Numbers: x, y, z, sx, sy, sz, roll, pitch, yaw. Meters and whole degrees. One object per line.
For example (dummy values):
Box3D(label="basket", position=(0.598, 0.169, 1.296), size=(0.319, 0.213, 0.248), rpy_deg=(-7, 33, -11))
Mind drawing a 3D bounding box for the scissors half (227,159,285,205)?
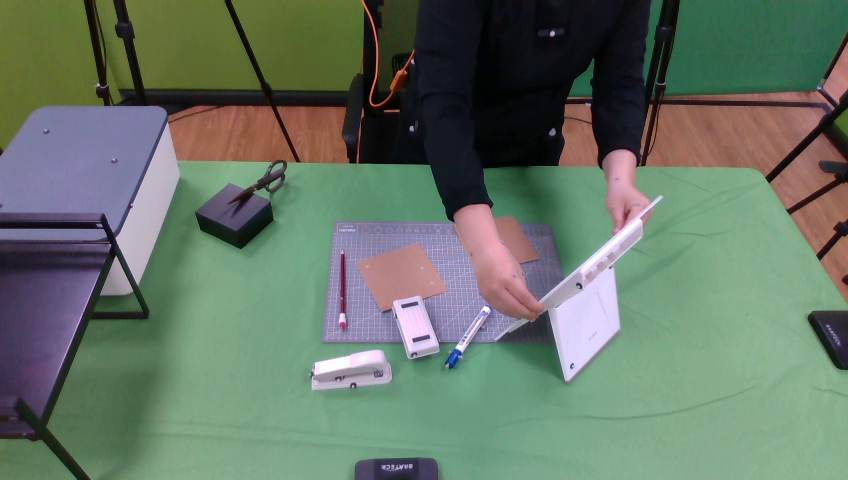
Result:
Box3D(label="scissors half", position=(-0.336, -0.117, 1.218), size=(0.013, 0.040, 0.175), rpy_deg=(27, 47, 13))

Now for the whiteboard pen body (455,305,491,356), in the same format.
Box3D(label="whiteboard pen body", position=(0.080, 0.164, 1.047), size=(0.017, 0.017, 0.140), rpy_deg=(25, 50, 19))

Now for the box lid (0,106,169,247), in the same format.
Box3D(label="box lid", position=(-0.624, -0.125, 1.067), size=(0.263, 0.015, 0.369), rpy_deg=(0, 46, -3))

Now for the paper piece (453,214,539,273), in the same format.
Box3D(label="paper piece", position=(0.142, 0.003, 1.212), size=(0.135, 0.004, 0.135), rpy_deg=(-11, 48, -14))

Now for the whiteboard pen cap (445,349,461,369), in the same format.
Box3D(label="whiteboard pen cap", position=(0.049, 0.197, 1.011), size=(0.018, 0.018, 0.033), rpy_deg=(24, 50, 18))

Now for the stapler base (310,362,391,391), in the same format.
Box3D(label="stapler base", position=(-0.119, 0.215, 0.980), size=(0.131, 0.024, 0.041), rpy_deg=(-5, 44, -7))

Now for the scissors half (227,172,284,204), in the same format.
Box3D(label="scissors half", position=(-0.340, -0.101, 1.231), size=(0.013, 0.040, 0.175), rpy_deg=(23, 29, 16))

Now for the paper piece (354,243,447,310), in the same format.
Box3D(label="paper piece", position=(-0.046, 0.066, 1.137), size=(0.136, 0.009, 0.137), rpy_deg=(-13, 46, -22))

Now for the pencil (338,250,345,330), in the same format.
Box3D(label="pencil", position=(-0.152, 0.085, 1.107), size=(0.012, 0.012, 0.192), rpy_deg=(-3, 44, -7))

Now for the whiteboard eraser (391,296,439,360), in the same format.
Box3D(label="whiteboard eraser", position=(-0.016, 0.150, 1.034), size=(0.056, 0.042, 0.112), rpy_deg=(-9, 48, -16))

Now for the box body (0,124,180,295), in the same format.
Box3D(label="box body", position=(-0.628, -0.075, 1.122), size=(0.254, 0.161, 0.361), rpy_deg=(1, 46, -4))

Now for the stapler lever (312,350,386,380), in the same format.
Box3D(label="stapler lever", position=(-0.120, 0.199, 0.963), size=(0.118, 0.040, 0.026), rpy_deg=(-4, 44, -8))

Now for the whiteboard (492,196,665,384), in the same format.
Box3D(label="whiteboard", position=(0.281, 0.102, 0.966), size=(0.217, 0.306, 0.143), rpy_deg=(-33, 77, -31))
